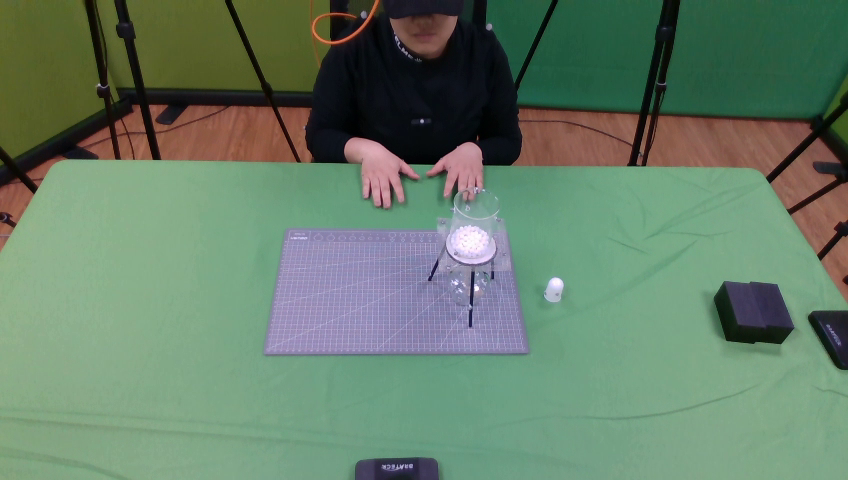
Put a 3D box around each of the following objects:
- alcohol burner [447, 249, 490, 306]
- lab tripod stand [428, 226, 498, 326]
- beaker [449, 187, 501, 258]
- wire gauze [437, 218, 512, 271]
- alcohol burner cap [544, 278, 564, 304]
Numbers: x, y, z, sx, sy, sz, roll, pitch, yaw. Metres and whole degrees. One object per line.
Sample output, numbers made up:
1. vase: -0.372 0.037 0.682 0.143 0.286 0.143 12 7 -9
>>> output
1. alcohol burner: 0.079 0.062 1.078 0.078 0.120 0.077 1 45 -1
2. lab tripod stand: 0.079 0.056 1.070 0.148 0.132 0.147 3 47 -3
3. beaker: 0.080 -0.027 0.991 0.074 0.101 0.083 3 46 -3
4. wire gauze: 0.083 0.007 1.026 0.121 0.011 0.124 3 44 -5
5. alcohol burner cap: 0.241 0.090 1.117 0.034 0.048 0.033 1 45 -1
